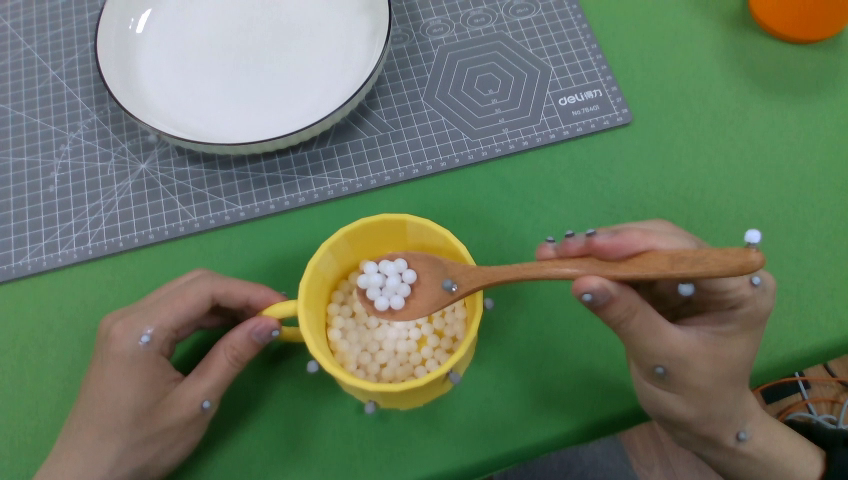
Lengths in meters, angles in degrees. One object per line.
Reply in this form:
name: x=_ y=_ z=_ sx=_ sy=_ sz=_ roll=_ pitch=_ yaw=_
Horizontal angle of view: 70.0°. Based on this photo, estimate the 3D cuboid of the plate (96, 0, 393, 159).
plate: x=-0.124 y=-0.145 z=0.440 sx=0.208 sy=0.039 sz=0.206 roll=0 pitch=67 yaw=1

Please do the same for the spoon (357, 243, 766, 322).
spoon: x=0.049 y=0.016 z=0.283 sx=0.193 sy=0.022 sz=0.041 roll=-7 pitch=62 yaw=33

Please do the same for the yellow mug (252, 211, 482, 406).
yellow mug: x=-0.033 y=0.043 z=0.349 sx=0.131 sy=0.064 sz=0.099 roll=-6 pitch=67 yaw=0
